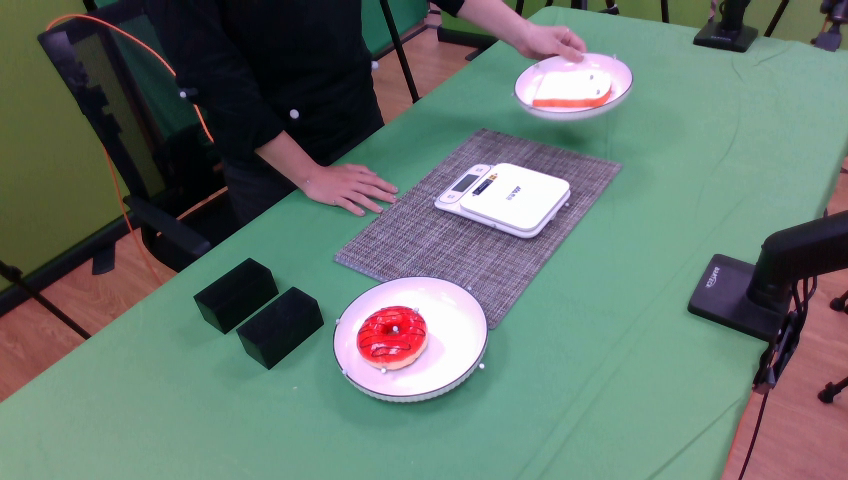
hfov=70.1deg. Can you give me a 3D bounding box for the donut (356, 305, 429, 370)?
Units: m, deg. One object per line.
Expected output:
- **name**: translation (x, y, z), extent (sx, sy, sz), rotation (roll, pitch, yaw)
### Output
- **donut**: translation (-0.041, 0.127, 0.798), extent (0.099, 0.048, 0.098), rotation (-7, 40, 7)

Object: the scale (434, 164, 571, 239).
- **scale**: translation (0.132, -0.075, 1.025), extent (0.199, 0.032, 0.149), rotation (22, 48, 30)

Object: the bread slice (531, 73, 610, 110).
- **bread slice**: translation (0.271, -0.272, 1.100), extent (0.131, 0.019, 0.105), rotation (7, 47, 22)

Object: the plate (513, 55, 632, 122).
- **plate**: translation (0.267, -0.270, 1.095), extent (0.209, 0.038, 0.208), rotation (-7, 42, 7)

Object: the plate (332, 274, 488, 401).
- **plate**: translation (-0.017, 0.130, 0.808), extent (0.207, 0.039, 0.206), rotation (-4, 41, 4)
